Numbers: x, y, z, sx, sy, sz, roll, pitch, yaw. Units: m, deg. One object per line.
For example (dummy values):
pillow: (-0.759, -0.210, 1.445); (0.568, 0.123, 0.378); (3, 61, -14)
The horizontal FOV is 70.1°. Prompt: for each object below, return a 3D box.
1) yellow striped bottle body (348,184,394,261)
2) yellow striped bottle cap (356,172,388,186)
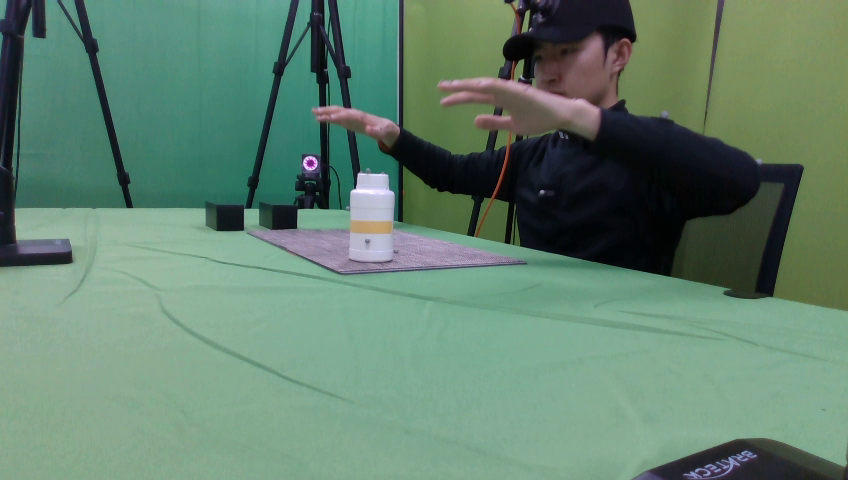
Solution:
yellow striped bottle body: (-0.073, -0.034, 0.845); (0.063, 0.120, 0.063); (2, 7, 0)
yellow striped bottle cap: (-0.072, -0.085, 0.839); (0.044, 0.018, 0.044); (2, 9, 0)
